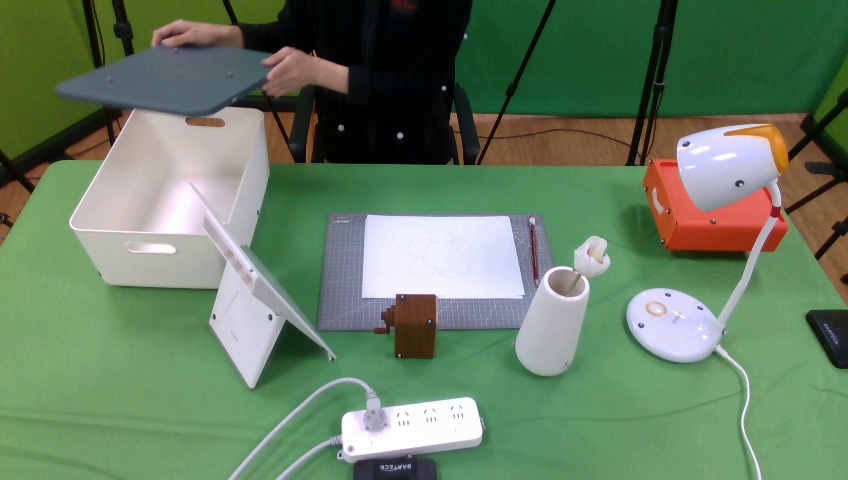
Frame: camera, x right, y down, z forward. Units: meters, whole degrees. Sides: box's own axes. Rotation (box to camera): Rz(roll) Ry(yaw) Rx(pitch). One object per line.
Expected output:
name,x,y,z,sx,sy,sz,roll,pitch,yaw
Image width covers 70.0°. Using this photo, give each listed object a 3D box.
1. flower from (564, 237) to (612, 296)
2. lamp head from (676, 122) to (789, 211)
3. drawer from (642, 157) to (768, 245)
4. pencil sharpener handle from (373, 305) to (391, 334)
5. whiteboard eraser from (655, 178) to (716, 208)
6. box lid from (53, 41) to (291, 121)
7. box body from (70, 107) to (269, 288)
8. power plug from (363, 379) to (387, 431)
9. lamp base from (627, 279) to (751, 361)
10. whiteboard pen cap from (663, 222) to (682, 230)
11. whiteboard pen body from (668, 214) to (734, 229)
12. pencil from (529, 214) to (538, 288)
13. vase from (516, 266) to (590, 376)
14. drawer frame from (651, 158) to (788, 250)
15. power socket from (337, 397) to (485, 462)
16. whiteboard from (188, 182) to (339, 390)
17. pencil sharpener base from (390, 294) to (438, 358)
flower,0.206,0.088,0.893,0.038,0.363,0.044,-16,67,-9
lamp head,0.423,-0.104,0.819,0.122,0.113,0.112,-13,33,40
drawer,0.564,-0.075,1.210,0.212,0.073,0.193,3,45,-1
pencil sharpener handle,-0.069,0.133,0.989,0.030,0.068,0.036,1,47,-2
whiteboard eraser,0.538,-0.095,1.251,0.113,0.042,0.055,4,52,-10
box lid,-0.418,-0.287,1.061,0.263,0.015,0.370,10,31,7
box body,-0.450,-0.087,1.148,0.254,0.161,0.361,2,46,-2
power plug,-0.072,0.252,0.910,0.035,0.053,0.072,3,45,-1
lamp base,0.459,0.100,1.027,0.178,0.181,0.160,27,51,17
whiteboard pen cap,0.487,-0.027,1.188,0.033,0.018,0.018,0,46,-16
whiteboard pen body,0.547,-0.035,1.200,0.141,0.017,0.017,-8,48,-9
pencil,0.218,0.019,1.202,0.012,0.012,0.193,5,48,1
vase,0.208,0.132,0.964,0.098,0.201,0.097,3,46,-3
drawer frame,0.571,-0.074,1.213,0.214,0.083,0.200,1,46,0
power socket,-0.018,0.285,0.915,0.227,0.033,0.071,-5,46,-8
whiteboard,-0.292,0.096,0.929,0.144,0.307,0.216,-38,58,-11
pencil sharpener base,-0.018,0.143,1.000,0.077,0.107,0.061,1,46,-2
